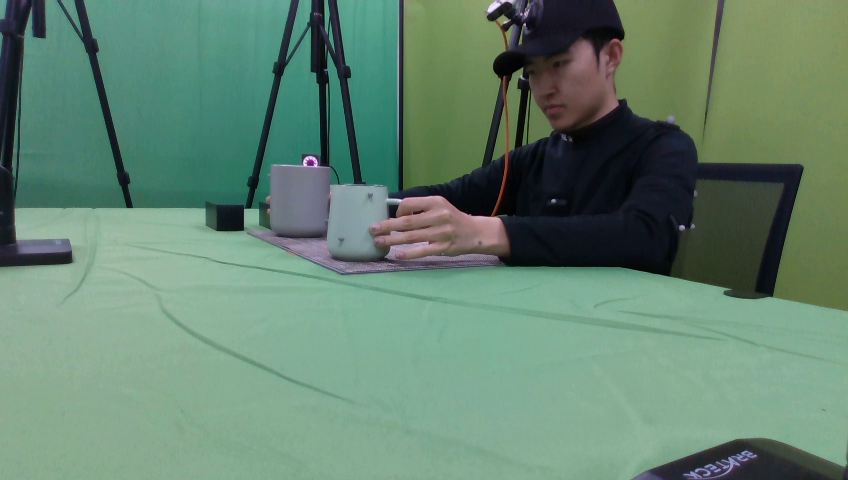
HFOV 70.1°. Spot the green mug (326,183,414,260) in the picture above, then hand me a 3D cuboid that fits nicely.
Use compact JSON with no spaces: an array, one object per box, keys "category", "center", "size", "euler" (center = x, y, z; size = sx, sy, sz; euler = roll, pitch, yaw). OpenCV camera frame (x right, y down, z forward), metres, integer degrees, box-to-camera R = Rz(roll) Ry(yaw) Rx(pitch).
[{"category":"green mug","center":[-0.076,-0.027,0.858],"size":[0.125,0.105,0.092],"euler":[3,7,8]}]

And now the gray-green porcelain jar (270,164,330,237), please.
[{"category":"gray-green porcelain jar","center":[-0.223,-0.073,1.089],"size":[0.106,0.126,0.106],"euler":[2,7,0]}]
